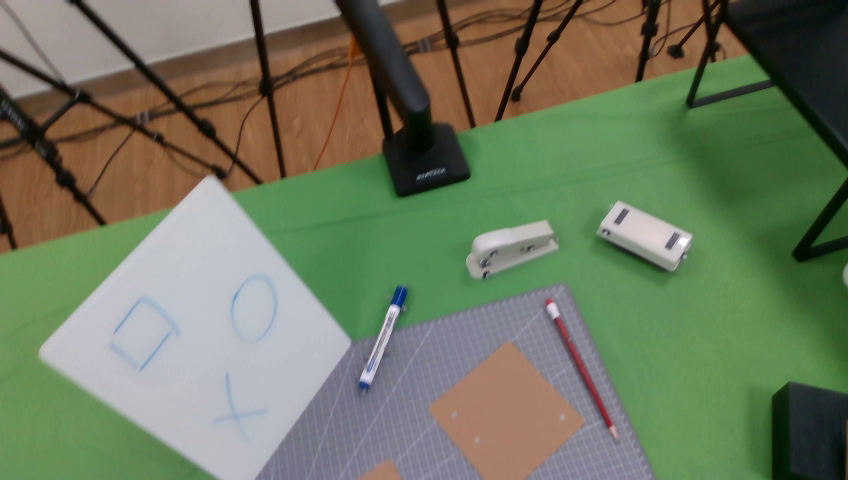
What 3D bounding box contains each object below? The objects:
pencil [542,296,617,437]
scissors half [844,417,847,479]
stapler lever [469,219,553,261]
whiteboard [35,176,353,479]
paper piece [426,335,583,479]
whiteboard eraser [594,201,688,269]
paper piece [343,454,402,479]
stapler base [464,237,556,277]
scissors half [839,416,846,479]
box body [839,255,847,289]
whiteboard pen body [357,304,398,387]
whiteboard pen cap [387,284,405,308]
[{"bbox_3d":[0.191,0.152,0.748,0.012,0.012,0.192,-19,59,-6],"label":"pencil"},{"bbox_3d":[0.420,0.267,0.612,0.013,0.040,0.174,10,79,11],"label":"scissors half"},{"bbox_3d":[0.118,-0.003,0.823,0.118,0.040,0.026,-20,60,-8],"label":"stapler lever"},{"bbox_3d":[-0.259,0.101,0.690,0.142,0.309,0.216,15,58,39],"label":"whiteboard"},{"bbox_3d":[0.094,0.204,0.726,0.136,0.009,0.137,-37,63,-12],"label":"paper piece"},{"bbox_3d":[0.294,-0.006,0.824,0.112,0.042,0.055,29,66,22],"label":"whiteboard eraser"},{"bbox_3d":[-0.067,0.326,0.662,0.135,0.004,0.134,-28,59,-13],"label":"paper piece"},{"bbox_3d":[0.119,0.011,0.843,0.131,0.024,0.041,-19,60,-9],"label":"stapler base"},{"bbox_3d":[0.416,0.259,0.594,0.012,0.040,0.174,7,61,16],"label":"scissors half"},{"bbox_3d":[0.678,0.101,0.642,0.254,0.162,0.360,-16,57,-4],"label":"box body"},{"bbox_3d":[-0.056,0.124,0.788,0.017,0.017,0.140,13,59,14],"label":"whiteboard pen body"},{"bbox_3d":[-0.037,0.077,0.816,0.018,0.018,0.033,11,59,13],"label":"whiteboard pen cap"}]
